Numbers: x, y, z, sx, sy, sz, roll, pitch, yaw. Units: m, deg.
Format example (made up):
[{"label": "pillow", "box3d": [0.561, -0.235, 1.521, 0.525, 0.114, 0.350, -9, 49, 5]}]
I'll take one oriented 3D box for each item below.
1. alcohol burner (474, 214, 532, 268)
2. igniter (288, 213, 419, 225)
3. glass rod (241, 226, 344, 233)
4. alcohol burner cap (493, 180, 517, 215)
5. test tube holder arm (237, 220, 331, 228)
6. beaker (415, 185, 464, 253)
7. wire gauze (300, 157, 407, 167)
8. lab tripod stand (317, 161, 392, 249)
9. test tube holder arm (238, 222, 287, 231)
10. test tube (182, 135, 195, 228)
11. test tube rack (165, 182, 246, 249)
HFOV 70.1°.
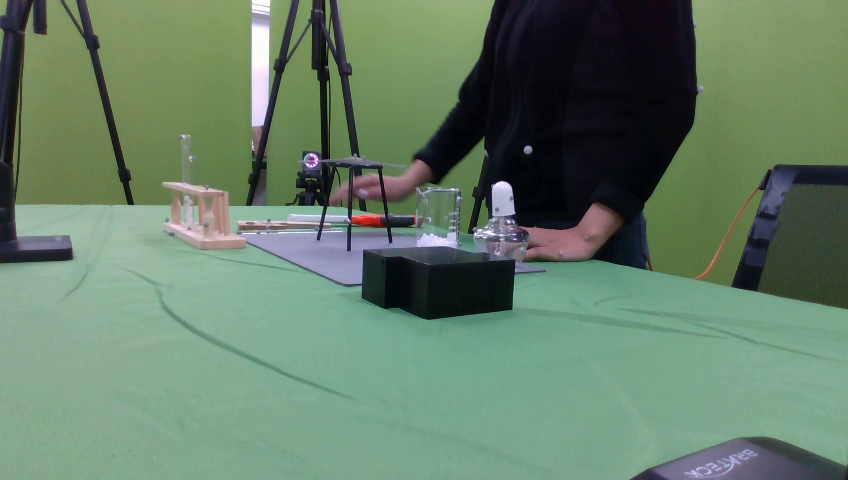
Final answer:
[{"label": "alcohol burner", "box3d": [0.107, -0.022, 0.819, 0.078, 0.119, 0.078, 1, 9, 0]}, {"label": "igniter", "box3d": [-0.144, -0.044, 1.278, 0.278, 0.025, 0.057, -1, -2, -21]}, {"label": "glass rod", "box3d": [-0.239, -0.019, 1.119, 0.201, 0.008, 0.008, -3, 9, -33]}, {"label": "alcohol burner cap", "box3d": [0.107, -0.057, 0.812, 0.034, 0.048, 0.034, -7, 11, 2]}, {"label": "test tube holder arm", "box3d": [-0.260, -0.029, 1.140, 0.179, 0.015, 0.013, -2, 41, -32]}, {"label": "beaker", "box3d": [0.021, -0.033, 0.938, 0.073, 0.100, 0.084, 7, 10, 36]}, {"label": "wire gauze", "box3d": [-0.112, -0.126, 0.959, 0.121, 0.011, 0.126, 11, 11, 41]}, {"label": "lab tripod stand", "box3d": [-0.111, -0.059, 0.963, 0.148, 0.131, 0.148, 4, 8, 0]}, {"label": "test tube holder arm", "box3d": [-0.296, -0.024, 1.112, 0.088, 0.015, 0.010, -2, 41, -32]}, {"label": "test tube", "box3d": [-0.382, -0.095, 0.983, 0.017, 0.150, 0.017, -1, 2, 0]}, {"label": "test tube rack", "box3d": [-0.360, -0.045, 0.983, 0.067, 0.085, 0.241, -3, 9, -34]}]
